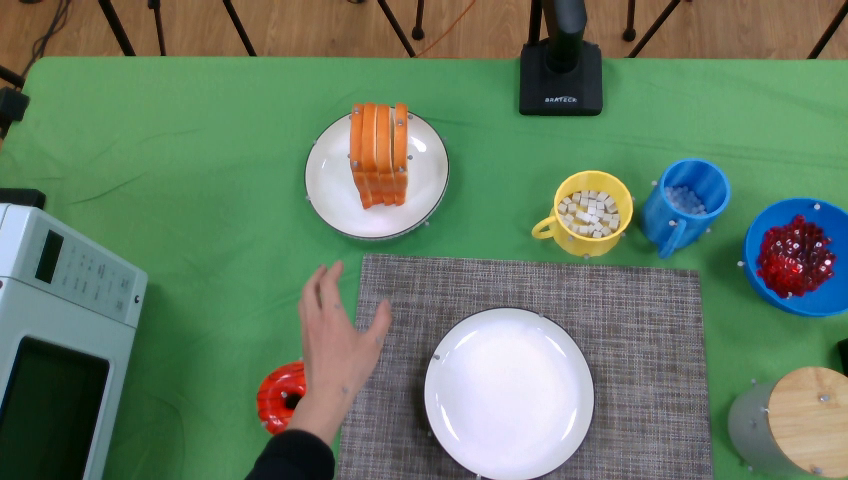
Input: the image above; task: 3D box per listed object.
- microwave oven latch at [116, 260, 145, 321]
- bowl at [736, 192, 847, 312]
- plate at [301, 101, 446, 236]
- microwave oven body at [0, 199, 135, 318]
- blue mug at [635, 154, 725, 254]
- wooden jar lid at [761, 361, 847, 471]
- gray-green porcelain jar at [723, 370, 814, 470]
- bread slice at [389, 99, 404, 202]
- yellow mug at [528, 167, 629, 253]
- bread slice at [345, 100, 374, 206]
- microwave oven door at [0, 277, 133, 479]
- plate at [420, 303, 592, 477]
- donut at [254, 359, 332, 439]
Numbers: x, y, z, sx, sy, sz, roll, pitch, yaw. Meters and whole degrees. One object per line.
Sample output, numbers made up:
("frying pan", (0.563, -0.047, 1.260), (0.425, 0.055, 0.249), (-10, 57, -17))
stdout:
("microwave oven latch", (-0.401, 0.067, 0.816), (0.030, 0.030, 0.078), (6, 72, 7))
("bowl", (0.459, 0.024, 0.756), (0.151, 0.077, 0.150), (-2, 71, 5))
("plate", (-0.071, -0.100, 0.868), (0.207, 0.039, 0.206), (-1, 71, 4))
("microwave oven body", (-0.570, 0.195, 0.683), (0.326, 0.262, 0.439), (3, 71, 6))
("blue mug", (0.319, -0.036, 0.775), (0.082, 0.106, 0.116), (21, 74, 12))
("wooden jar lid", (0.397, 0.178, 0.615), (0.108, 0.021, 0.107), (-1, 72, 3))
("gray-green porcelain jar", (0.403, 0.200, 0.674), (0.106, 0.127, 0.105), (-1, 70, 4))
("bread slice", (-0.037, -0.123, 0.815), (0.019, 0.132, 0.104), (0, 72, -3))
("yellow mug", (0.200, -0.034, 0.806), (0.131, 0.064, 0.099), (-19, 69, 0))
("bread slice", (-0.086, -0.123, 0.818), (0.018, 0.135, 0.106), (0, 67, 3))
("microwave oven door", (-0.430, 0.240, 0.650), (0.039, 0.245, 0.353), (2, 71, 6))
("plate", (0.100, 0.183, 0.749), (0.209, 0.038, 0.207), (-2, 70, 5))
("donut", (-0.165, 0.201, 0.767), (0.099, 0.048, 0.098), (-1, 71, 3))
